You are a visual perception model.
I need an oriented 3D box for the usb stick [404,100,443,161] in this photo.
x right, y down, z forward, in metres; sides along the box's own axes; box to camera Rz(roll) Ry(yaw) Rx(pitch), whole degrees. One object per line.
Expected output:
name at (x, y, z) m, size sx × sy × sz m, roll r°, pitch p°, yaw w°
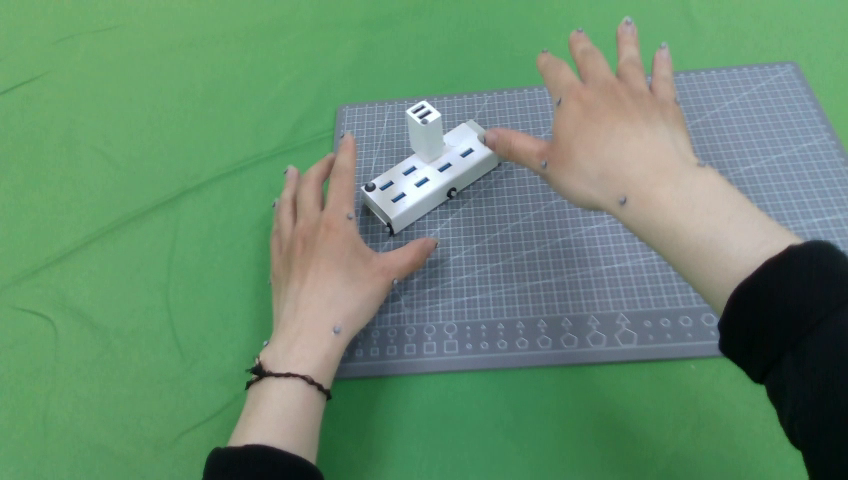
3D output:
usb stick at (0.001, -0.089, 0.525) m, size 0.021 × 0.060 × 0.027 m, roll -37°, pitch 56°, yaw -17°

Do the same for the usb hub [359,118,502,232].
usb hub at (0.007, -0.060, 0.539) m, size 0.125 × 0.025 × 0.049 m, roll -34°, pitch 56°, yaw -16°
